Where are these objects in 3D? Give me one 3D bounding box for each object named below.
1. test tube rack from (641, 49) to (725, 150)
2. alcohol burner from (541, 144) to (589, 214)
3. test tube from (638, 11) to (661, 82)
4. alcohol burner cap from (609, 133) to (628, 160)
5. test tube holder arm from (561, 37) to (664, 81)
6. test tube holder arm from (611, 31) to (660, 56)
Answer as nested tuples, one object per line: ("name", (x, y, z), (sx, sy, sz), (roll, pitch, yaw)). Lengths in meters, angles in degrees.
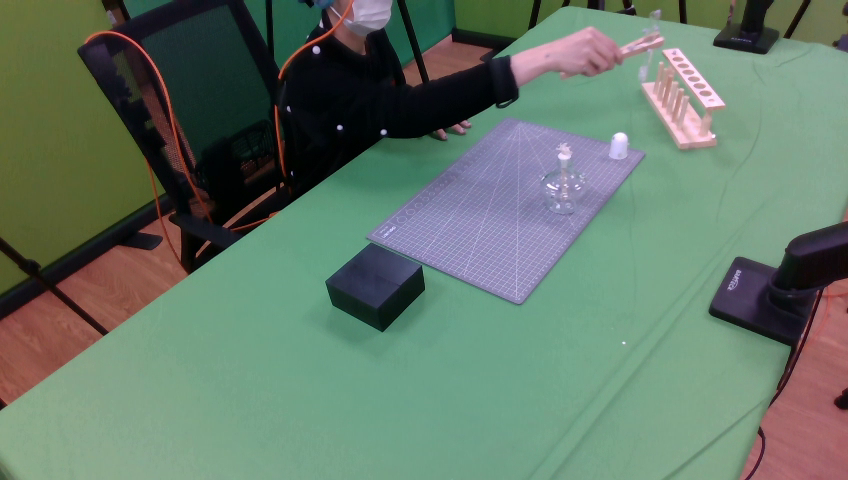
("test tube rack", (0.495, -0.279, 1.175), (0.067, 0.085, 0.241), (-5, 41, 3))
("alcohol burner", (0.229, -0.102, 0.983), (0.078, 0.119, 0.077), (-6, 40, 5))
("test tube", (0.382, -0.325, 1.029), (0.017, 0.151, 0.017), (-4, 61, 8))
("alcohol burner cap", (0.356, -0.172, 1.101), (0.034, 0.048, 0.033), (-5, 41, 5))
("test tube holder arm", (0.316, -0.304, 1.015), (0.178, 0.015, 0.013), (-20, 58, 1))
("test tube holder arm", (0.356, -0.326, 1.018), (0.088, 0.015, 0.010), (-27, 59, -3))
